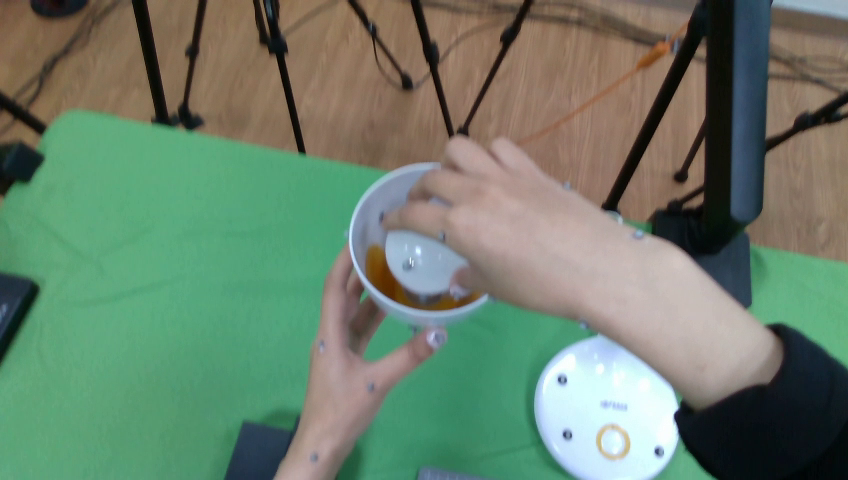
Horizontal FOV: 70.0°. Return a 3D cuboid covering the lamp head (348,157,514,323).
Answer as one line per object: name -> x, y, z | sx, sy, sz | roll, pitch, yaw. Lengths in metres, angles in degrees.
lamp head -> 0.007, 0.013, 0.452 | 0.112, 0.124, 0.111 | -1, 68, 3

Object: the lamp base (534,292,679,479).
lamp base -> 0.203, 0.137, 0.607 | 0.161, 0.181, 0.177 | -1, 62, -3

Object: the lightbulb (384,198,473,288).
lightbulb -> 0.002, 0.009, 0.428 | 0.059, 0.108, 0.059 | 1, 73, -3
